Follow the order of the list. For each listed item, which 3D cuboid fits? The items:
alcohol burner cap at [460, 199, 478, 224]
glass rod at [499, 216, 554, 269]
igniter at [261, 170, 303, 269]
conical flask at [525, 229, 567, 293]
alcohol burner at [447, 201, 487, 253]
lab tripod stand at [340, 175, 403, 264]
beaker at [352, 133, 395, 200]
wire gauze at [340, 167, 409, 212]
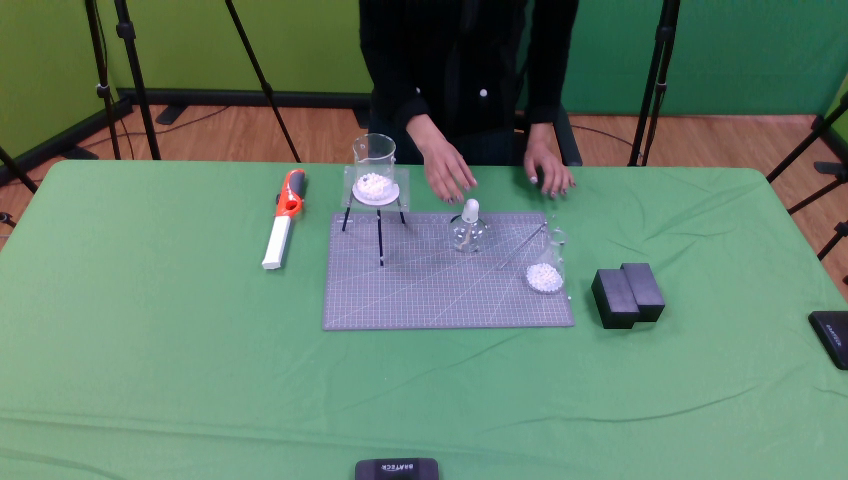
[{"bbox_3d":[0.087,-0.057,1.144,0.034,0.048,0.033,2,52,-2],"label":"alcohol burner cap"},{"bbox_3d":[0.208,0.002,1.219,0.008,0.008,0.199,32,52,25],"label":"glass rod"},{"bbox_3d":[-0.284,-0.050,1.222,0.057,0.025,0.275,-4,45,6],"label":"igniter"},{"bbox_3d":[0.232,0.036,1.110,0.075,0.122,0.075,2,46,-2],"label":"conical flask"},{"bbox_3d":[0.085,-0.033,1.171,0.078,0.119,0.077,4,45,-4],"label":"alcohol burner"},{"bbox_3d":[-0.093,-0.050,1.160,0.148,0.132,0.147,2,44,-2],"label":"lab tripod stand"},{"bbox_3d":[-0.091,-0.126,1.074,0.074,0.101,0.084,26,48,21],"label":"beaker"},{"bbox_3d":[-0.091,-0.095,1.111,0.125,0.011,0.120,1,43,-2],"label":"wire gauze"}]
